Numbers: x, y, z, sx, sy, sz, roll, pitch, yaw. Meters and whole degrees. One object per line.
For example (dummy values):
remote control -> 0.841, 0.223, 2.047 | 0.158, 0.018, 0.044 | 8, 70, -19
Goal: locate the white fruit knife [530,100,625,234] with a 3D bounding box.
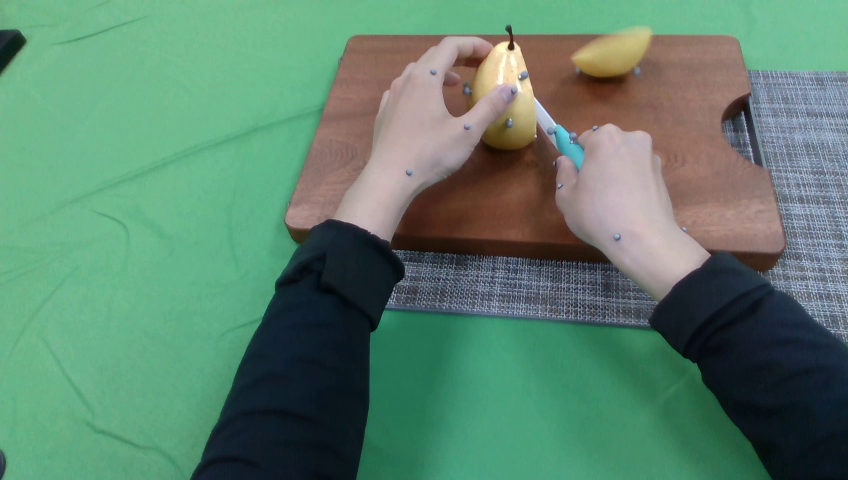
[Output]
white fruit knife -> 0.113, -0.083, 0.515 | 0.016, 0.028, 0.205 | -15, 47, -11

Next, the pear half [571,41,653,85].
pear half -> 0.177, -0.163, 0.568 | 0.070, 0.031, 0.088 | 13, 32, 38

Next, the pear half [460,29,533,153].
pear half -> 0.058, -0.125, 0.510 | 0.056, 0.111, 0.075 | -19, 48, -8
